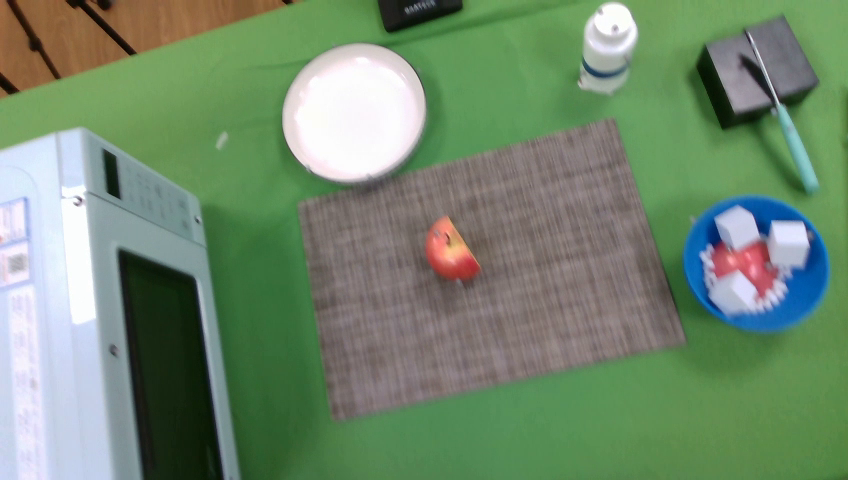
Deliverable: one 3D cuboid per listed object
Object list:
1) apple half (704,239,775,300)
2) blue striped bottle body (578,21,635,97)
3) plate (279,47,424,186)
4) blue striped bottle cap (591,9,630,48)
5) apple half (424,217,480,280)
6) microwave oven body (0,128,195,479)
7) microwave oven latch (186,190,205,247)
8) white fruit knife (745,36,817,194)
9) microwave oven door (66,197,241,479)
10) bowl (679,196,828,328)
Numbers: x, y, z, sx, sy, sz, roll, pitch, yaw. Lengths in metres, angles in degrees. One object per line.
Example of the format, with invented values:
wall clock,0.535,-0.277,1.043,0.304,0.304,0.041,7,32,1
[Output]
apple half,0.369,0.032,0.699,0.081,0.033,0.081,-3,75,11
blue striped bottle body,0.232,-0.238,0.772,0.063,0.121,0.062,-2,75,10
plate,-0.100,-0.171,0.857,0.207,0.039,0.206,-2,76,9
blue striped bottle cap,0.223,-0.252,0.723,0.044,0.021,0.044,-2,78,9
apple half,0.029,0.018,0.765,0.053,0.075,0.080,-35,76,6
microwave oven body,-0.446,0.152,0.716,0.326,0.262,0.439,-16,75,5
microwave oven latch,-0.327,-0.027,0.841,0.030,0.030,0.078,-16,75,5
white fruit knife,0.429,-0.151,0.733,0.016,0.027,0.207,-24,90,22
microwave oven door,-0.297,0.151,0.685,0.039,0.245,0.353,-16,74,6
bowl,0.369,0.032,0.703,0.151,0.077,0.150,-2,76,10
